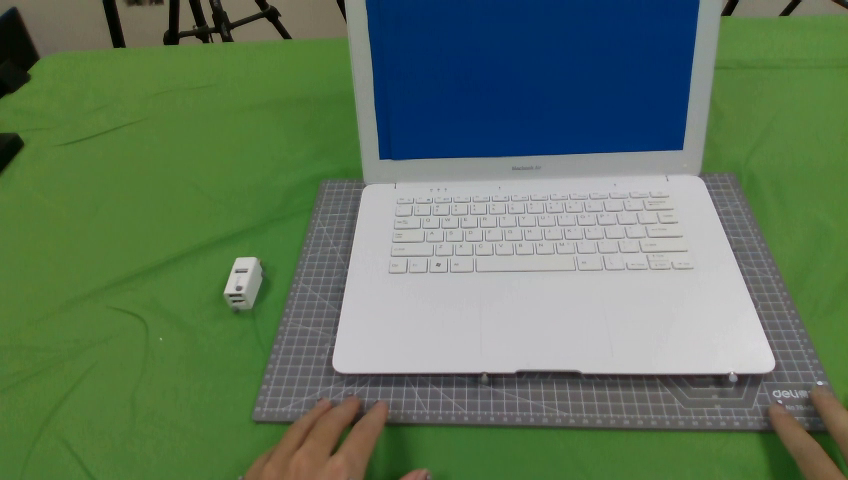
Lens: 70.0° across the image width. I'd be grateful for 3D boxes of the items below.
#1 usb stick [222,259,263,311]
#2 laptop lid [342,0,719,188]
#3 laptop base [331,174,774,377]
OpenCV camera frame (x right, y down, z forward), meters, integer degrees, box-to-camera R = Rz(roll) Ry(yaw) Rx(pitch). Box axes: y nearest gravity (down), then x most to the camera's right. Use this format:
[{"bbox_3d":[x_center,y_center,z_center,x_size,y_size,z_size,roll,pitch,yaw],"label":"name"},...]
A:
[{"bbox_3d":[-0.169,0.037,0.574,0.021,0.027,0.058,-4,42,9],"label":"usb stick"},{"bbox_3d":[0.101,-0.164,0.596,0.356,0.243,0.013,-3,24,5],"label":"laptop lid"},{"bbox_3d":[0.103,0.026,0.563,0.354,0.023,0.233,-2,48,4],"label":"laptop base"}]
